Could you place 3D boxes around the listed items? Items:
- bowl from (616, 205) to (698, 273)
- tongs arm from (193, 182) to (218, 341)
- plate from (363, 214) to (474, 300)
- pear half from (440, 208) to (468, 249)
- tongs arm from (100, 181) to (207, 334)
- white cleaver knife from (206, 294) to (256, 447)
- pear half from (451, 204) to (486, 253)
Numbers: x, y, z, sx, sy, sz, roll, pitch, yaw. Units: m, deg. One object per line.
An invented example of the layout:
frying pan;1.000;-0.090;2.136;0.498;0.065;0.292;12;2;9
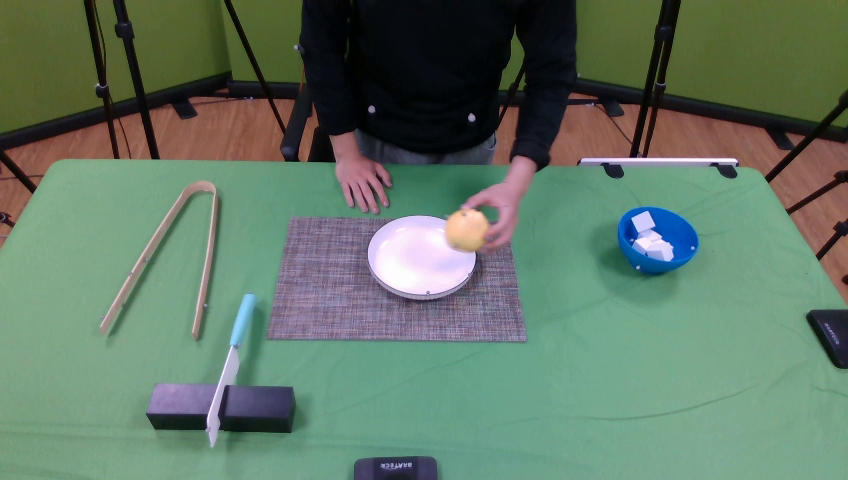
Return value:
bowl;0.443;0.011;1.182;0.151;0.077;0.150;2;46;-2
tongs arm;-0.413;0.024;1.140;0.028;0.028;0.385;-5;47;-7
plate;-0.010;0.036;1.146;0.208;0.039;0.206;2;46;-2
pear half;0.047;-0.025;1.049;0.031;0.088;0.070;7;53;-16
tongs arm;-0.494;0.018;1.132;0.051;0.026;0.382;7;45;0
white cleaver knife;-0.305;0.191;0.956;0.021;0.066;0.284;5;36;-4
pear half;0.083;-0.025;1.051;0.056;0.110;0.076;7;56;-15
